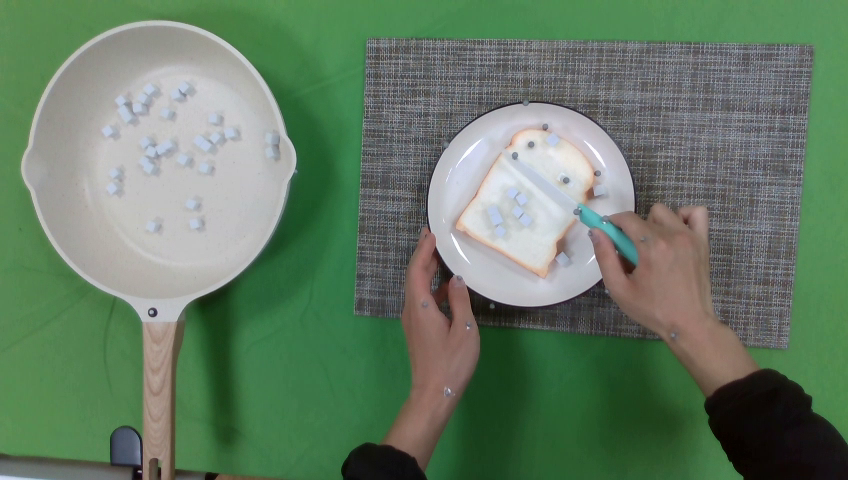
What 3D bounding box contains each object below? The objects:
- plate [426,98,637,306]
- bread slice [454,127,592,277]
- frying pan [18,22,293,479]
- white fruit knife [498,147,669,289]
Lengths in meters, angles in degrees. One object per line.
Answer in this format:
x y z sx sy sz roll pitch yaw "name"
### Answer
0.107 -0.037 0.620 0.207 0.039 0.207 0 93 8 "plate"
0.105 -0.046 0.621 0.107 0.018 0.134 27 98 6 "bread slice"
-0.279 0.025 0.646 0.306 0.103 0.486 -1 84 9 "frying pan"
0.149 -0.026 0.578 0.206 0.027 0.016 40 66 13 "white fruit knife"
